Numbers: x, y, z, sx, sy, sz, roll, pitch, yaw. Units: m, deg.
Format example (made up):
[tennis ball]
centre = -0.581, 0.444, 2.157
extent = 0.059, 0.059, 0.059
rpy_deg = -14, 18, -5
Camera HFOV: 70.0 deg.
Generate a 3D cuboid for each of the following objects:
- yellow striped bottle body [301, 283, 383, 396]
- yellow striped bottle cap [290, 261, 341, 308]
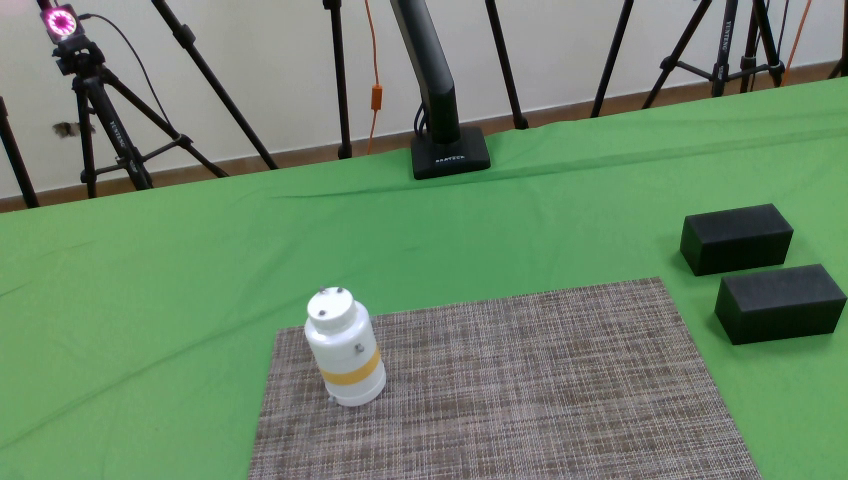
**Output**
[yellow striped bottle body]
centre = -0.082, 0.095, 0.601
extent = 0.063, 0.121, 0.062
rpy_deg = -6, 41, 6
[yellow striped bottle cap]
centre = -0.098, 0.040, 0.553
extent = 0.044, 0.019, 0.044
rpy_deg = -7, 47, 8
